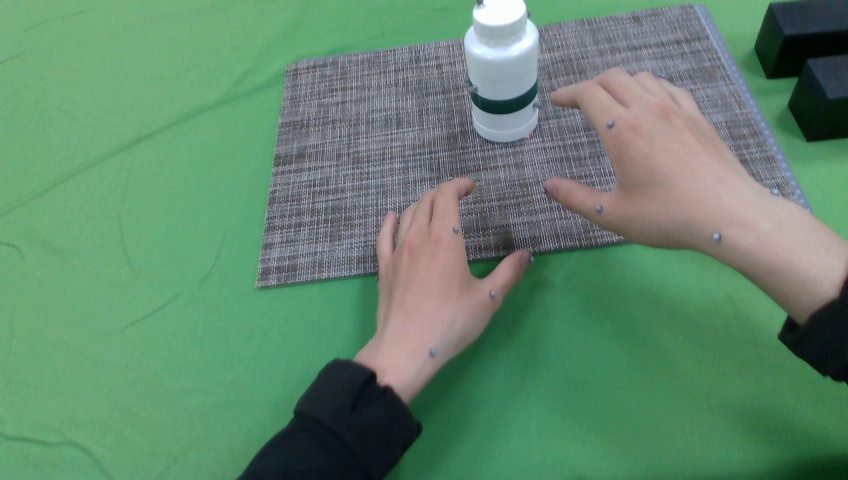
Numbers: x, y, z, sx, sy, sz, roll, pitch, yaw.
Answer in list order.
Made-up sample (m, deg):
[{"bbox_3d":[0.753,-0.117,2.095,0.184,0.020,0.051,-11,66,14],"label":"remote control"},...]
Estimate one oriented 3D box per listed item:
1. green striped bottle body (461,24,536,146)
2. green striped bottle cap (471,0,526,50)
[{"bbox_3d":[0.068,-0.147,0.539,0.063,0.120,0.062,-5,53,7],"label":"green striped bottle body"},{"bbox_3d":[0.061,-0.177,0.497,0.044,0.020,0.044,-6,55,9],"label":"green striped bottle cap"}]
